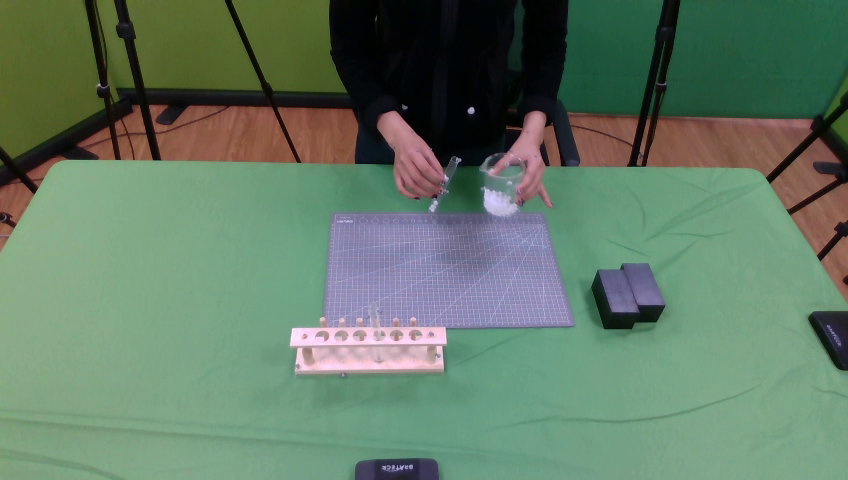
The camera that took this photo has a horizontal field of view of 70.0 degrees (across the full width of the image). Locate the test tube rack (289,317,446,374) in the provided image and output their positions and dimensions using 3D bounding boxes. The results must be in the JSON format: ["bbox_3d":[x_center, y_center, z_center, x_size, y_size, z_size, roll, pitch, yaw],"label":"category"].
[{"bbox_3d":[-0.089,0.167,0.987,0.242,0.085,0.066,0,46,-4],"label":"test tube rack"}]

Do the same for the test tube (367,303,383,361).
[{"bbox_3d":[-0.075,0.146,0.941,0.017,0.151,0.017,0,49,0],"label":"test tube"}]

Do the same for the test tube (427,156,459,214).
[{"bbox_3d":[0.033,-0.099,1.122,0.017,0.151,0.017,11,50,-13],"label":"test tube"}]

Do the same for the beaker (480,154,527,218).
[{"bbox_3d":[0.143,-0.096,1.117,0.084,0.101,0.073,-3,44,-2],"label":"beaker"}]
